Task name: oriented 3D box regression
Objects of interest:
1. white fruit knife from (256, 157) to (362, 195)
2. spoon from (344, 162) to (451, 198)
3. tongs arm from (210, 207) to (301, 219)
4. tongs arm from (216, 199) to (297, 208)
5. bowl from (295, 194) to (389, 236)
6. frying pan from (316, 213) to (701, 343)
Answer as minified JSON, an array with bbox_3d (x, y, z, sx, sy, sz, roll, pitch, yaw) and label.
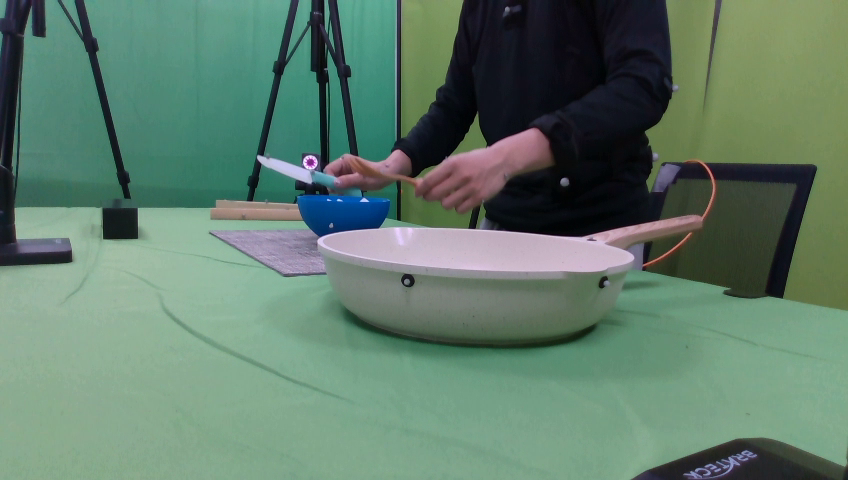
[{"bbox_3d":[-0.201,-0.113,1.086,0.208,0.027,0.016,17,-9,-33],"label":"white fruit knife"},{"bbox_3d":[-0.030,-0.082,0.854,0.195,0.021,0.041,7,-8,-42],"label":"spoon"},{"bbox_3d":[-0.287,-0.062,1.392,0.389,0.028,0.028,0,5,-23],"label":"tongs arm"},{"bbox_3d":[-0.307,-0.076,1.470,0.386,0.026,0.050,2,8,-11],"label":"tongs arm"},{"bbox_3d":[-0.132,-0.032,0.980,0.151,0.077,0.151,2,7,0],"label":"bowl"},{"bbox_3d":[0.133,0.013,0.629,0.490,0.102,0.305,-12,14,-30],"label":"frying pan"}]
